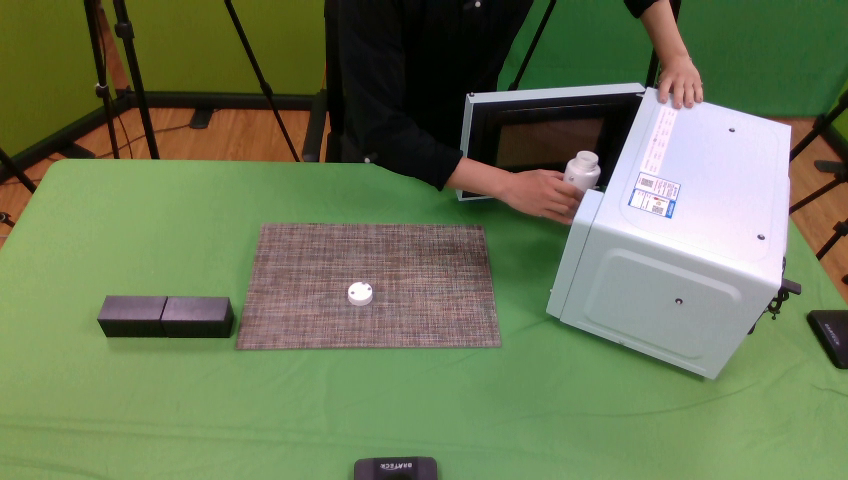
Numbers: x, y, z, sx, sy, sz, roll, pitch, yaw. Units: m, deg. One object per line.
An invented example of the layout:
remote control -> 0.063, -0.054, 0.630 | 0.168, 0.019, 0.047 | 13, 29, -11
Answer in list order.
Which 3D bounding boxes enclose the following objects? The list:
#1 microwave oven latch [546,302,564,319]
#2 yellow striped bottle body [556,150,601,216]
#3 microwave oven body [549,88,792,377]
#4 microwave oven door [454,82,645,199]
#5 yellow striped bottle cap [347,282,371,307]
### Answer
microwave oven latch -> 0.242, 0.102, 1.081 | 0.030, 0.029, 0.079 | 22, 48, 17
yellow striped bottle body -> 0.294, -0.110, 1.146 | 0.063, 0.121, 0.062 | 4, 42, -3
microwave oven body -> 0.455, -0.028, 1.088 | 0.325, 0.261, 0.440 | 20, 47, 16
microwave oven door -> 0.247, -0.200, 1.228 | 0.356, 0.245, 0.039 | -6, 47, -10
yellow striped bottle cap -> -0.117, 0.098, 1.093 | 0.044, 0.019, 0.044 | 3, 45, -3
